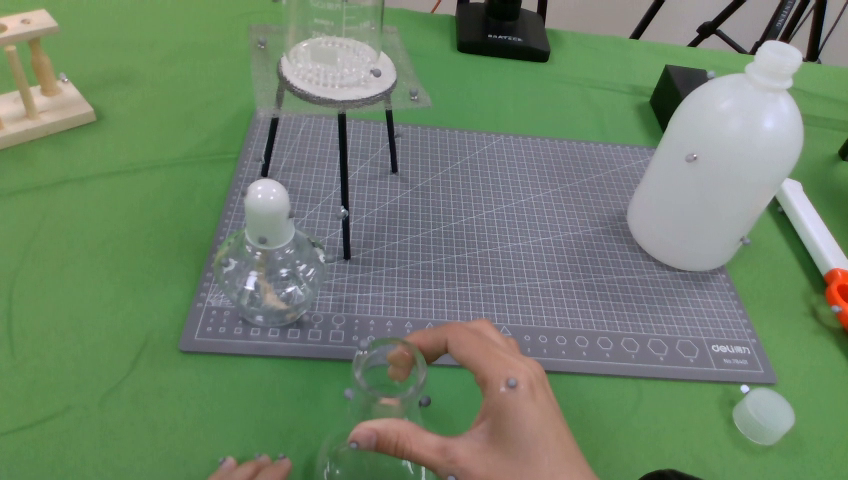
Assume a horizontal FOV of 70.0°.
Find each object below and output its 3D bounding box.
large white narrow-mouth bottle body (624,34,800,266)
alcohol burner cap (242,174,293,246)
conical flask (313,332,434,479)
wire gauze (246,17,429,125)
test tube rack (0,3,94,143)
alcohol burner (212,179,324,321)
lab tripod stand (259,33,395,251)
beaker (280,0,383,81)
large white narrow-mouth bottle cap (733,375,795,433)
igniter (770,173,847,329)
[{"bbox_3d":[0.245,-0.074,0.503,0.102,0.196,0.101,5,46,-4],"label":"large white narrow-mouth bottle body"},{"bbox_3d":[-0.103,-0.022,0.395,0.034,0.048,0.033,5,52,-6],"label":"alcohol burner cap"},{"bbox_3d":[-0.025,0.101,0.341,0.075,0.123,0.074,5,46,-5],"label":"conical flask"},{"bbox_3d":[-0.068,-0.133,0.453,0.122,0.011,0.123,-7,52,-14],"label":"wire gauze"},{"bbox_3d":[-0.423,-0.118,0.503,0.242,0.086,0.066,-29,58,-32],"label":"test tube rack"},{"bbox_3d":[-0.108,0.002,0.422,0.078,0.120,0.077,7,45,-6],"label":"alcohol burner"},{"bbox_3d":[-0.073,-0.086,0.499,0.149,0.132,0.147,7,47,-7],"label":"lab tripod stand"},{"bbox_3d":[-0.066,-0.169,0.420,0.084,0.101,0.073,0,48,-11],"label":"beaker"},{"bbox_3d":[0.249,0.120,0.444,0.038,0.024,0.037,5,46,-5],"label":"large white narrow-mouth bottle cap"},{"bbox_3d":[0.374,0.035,0.544,0.057,0.025,0.273,13,45,-13],"label":"igniter"}]
